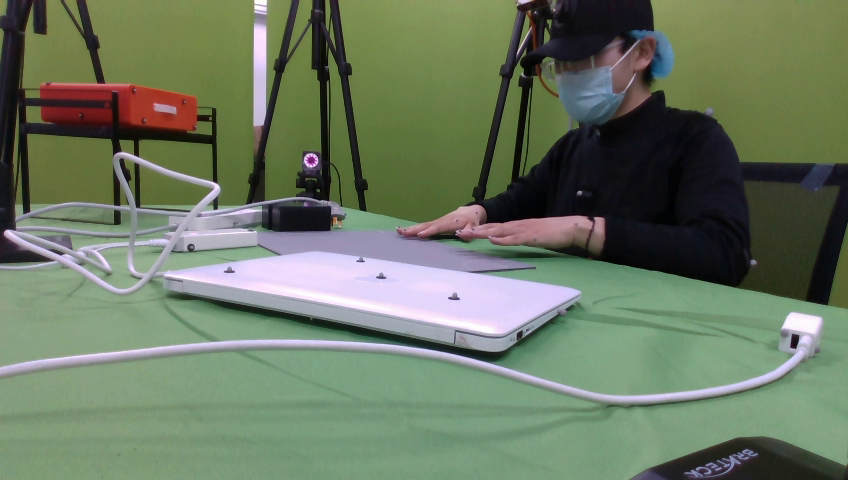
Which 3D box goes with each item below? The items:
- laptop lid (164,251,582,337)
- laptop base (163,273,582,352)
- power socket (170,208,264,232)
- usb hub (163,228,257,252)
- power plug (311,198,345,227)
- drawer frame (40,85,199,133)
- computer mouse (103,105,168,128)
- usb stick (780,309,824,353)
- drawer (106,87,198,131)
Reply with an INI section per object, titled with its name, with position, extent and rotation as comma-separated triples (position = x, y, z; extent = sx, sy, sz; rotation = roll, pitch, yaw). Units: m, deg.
[laptop lid]
position = -0.045, 0.040, 0.599
extent = 0.355, 0.013, 0.243
rotation = 7, 7, 30
[laptop base]
position = -0.046, 0.052, 0.598
extent = 0.353, 0.023, 0.236
rotation = 7, 6, 28
[power socket]
position = -0.381, -0.038, 1.129
extent = 0.072, 0.032, 0.227
rotation = 4, 8, 15
[usb hub]
position = -0.313, -0.001, 0.894
extent = 0.049, 0.025, 0.126
rotation = 9, 10, 41
[power plug]
position = -0.195, -0.053, 1.220
extent = 0.073, 0.052, 0.035
rotation = 4, -22, -21
[drawer frame]
position = -0.612, -0.266, 1.235
extent = 0.213, 0.082, 0.202
rotation = 4, 8, 15
[computer mouse]
position = -0.582, -0.249, 1.223
extent = 0.118, 0.041, 0.062
rotation = 2, 3, -39
[usb stick]
position = 0.311, 0.072, 0.496
extent = 0.027, 0.021, 0.059
rotation = 7, 15, 34
[drawer]
position = -0.609, -0.264, 1.235
extent = 0.211, 0.073, 0.195
rotation = 3, 8, 16
